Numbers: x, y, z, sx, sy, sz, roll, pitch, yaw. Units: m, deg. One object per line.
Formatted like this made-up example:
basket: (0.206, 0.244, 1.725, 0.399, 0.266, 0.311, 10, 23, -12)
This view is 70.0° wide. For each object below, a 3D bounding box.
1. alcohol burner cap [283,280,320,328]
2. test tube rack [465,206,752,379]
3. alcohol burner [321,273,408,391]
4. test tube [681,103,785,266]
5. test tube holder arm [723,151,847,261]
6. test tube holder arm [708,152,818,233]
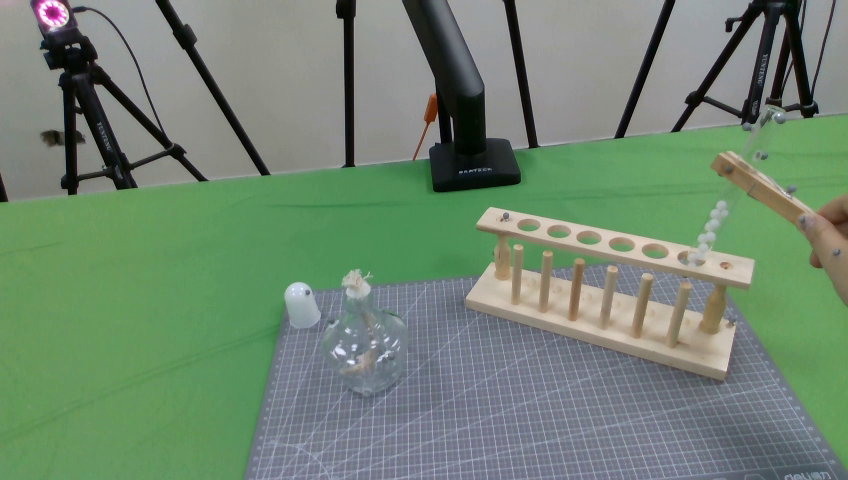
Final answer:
alcohol burner cap: (-0.126, 0.062, 0.615, 0.034, 0.048, 0.033, -3, 37, 3)
test tube rack: (0.159, 0.042, 0.563, 0.241, 0.086, 0.066, 14, 41, 26)
alcohol burner: (-0.054, 0.075, 0.525, 0.078, 0.120, 0.077, -3, 37, 2)
test tube: (0.243, -0.037, 0.484, 0.017, 0.151, 0.017, 10, 33, -6)
test tube holder arm: (0.286, -0.009, 0.440, 0.013, 0.015, 0.176, -13, 49, -34)
test tube holder arm: (0.256, -0.037, 0.460, 0.010, 0.015, 0.087, -20, 53, -39)
